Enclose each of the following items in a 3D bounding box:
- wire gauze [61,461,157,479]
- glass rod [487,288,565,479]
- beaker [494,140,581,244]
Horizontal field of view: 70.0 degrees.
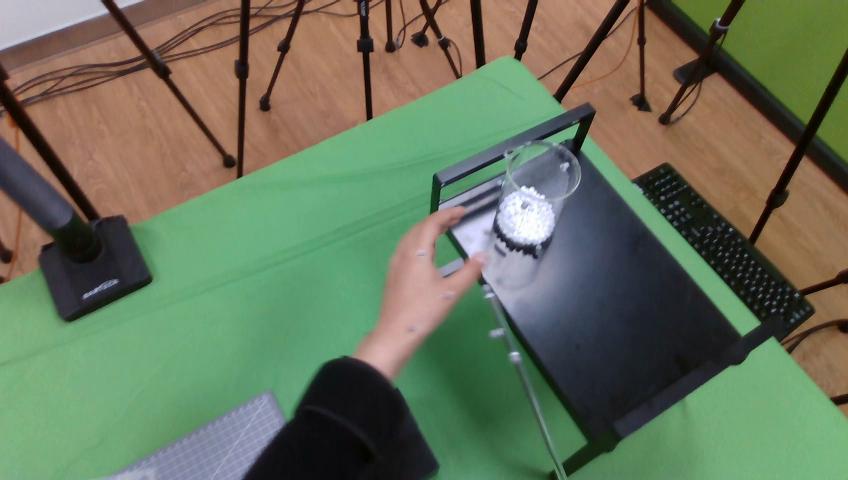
[{"bbox_3d":[-0.302,0.272,0.546,0.125,0.011,0.120,-7,62,-8],"label":"wire gauze"},{"bbox_3d":[0.081,0.127,0.436,0.008,0.008,0.200,-23,97,-15],"label":"glass rod"},{"bbox_3d":[0.112,-0.048,0.642,0.083,0.101,0.074,33,63,15],"label":"beaker"}]
